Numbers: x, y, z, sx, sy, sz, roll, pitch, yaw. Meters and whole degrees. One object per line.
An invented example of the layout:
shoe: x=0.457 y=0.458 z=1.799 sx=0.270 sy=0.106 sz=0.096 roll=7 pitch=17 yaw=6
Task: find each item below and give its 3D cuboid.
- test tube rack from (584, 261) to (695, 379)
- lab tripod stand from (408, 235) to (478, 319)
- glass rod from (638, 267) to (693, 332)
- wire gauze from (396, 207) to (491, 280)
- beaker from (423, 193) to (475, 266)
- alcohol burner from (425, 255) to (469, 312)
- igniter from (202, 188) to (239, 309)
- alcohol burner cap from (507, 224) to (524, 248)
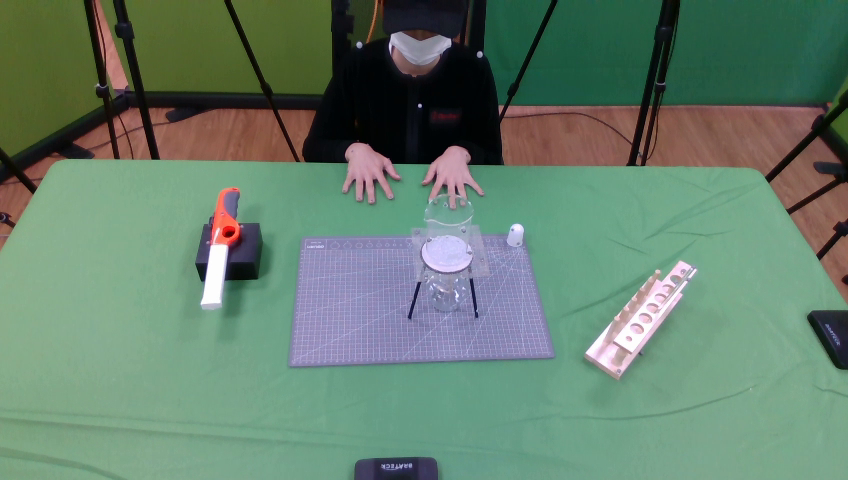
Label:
test tube rack: x=0.380 y=0.127 z=1.062 sx=0.066 sy=0.085 sz=0.242 roll=34 pitch=53 yaw=26
lab tripod stand: x=0.032 y=0.065 z=1.057 sx=0.148 sy=0.132 sz=0.147 roll=1 pitch=45 yaw=-1
glass rod: x=0.394 y=0.101 z=0.995 sx=0.008 sy=0.200 sz=0.008 roll=4 pitch=53 yaw=-5
wire gauze: x=0.032 y=0.006 z=1.001 sx=0.125 sy=0.011 sz=0.120 roll=-20 pitch=52 yaw=-16
beaker: x=0.036 y=-0.013 z=0.974 sx=0.084 sy=0.101 sz=0.073 roll=-18 pitch=48 yaw=-20
alcohol burner: x=0.041 y=0.072 z=1.065 sx=0.078 sy=0.120 sz=0.077 roll=1 pitch=46 yaw=-1
igniter: x=-0.367 y=0.006 z=1.095 sx=0.057 sy=0.025 sz=0.274 roll=-2 pitch=50 yaw=-7
alcohol burner cap: x=0.184 y=-0.010 z=1.206 sx=0.034 sy=0.048 sz=0.033 roll=0 pitch=45 yaw=0
